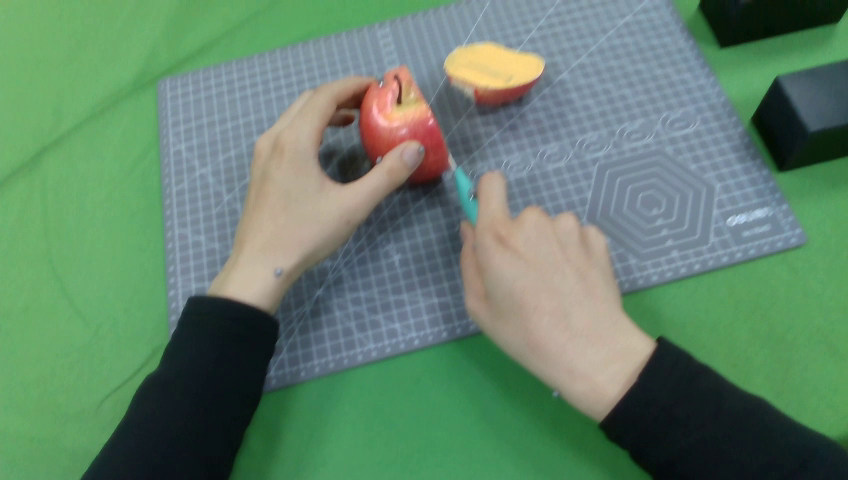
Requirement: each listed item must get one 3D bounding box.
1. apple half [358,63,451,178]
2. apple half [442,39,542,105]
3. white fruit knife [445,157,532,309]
[{"bbox_3d":[-0.020,-0.080,0.445,0.053,0.075,0.080,-27,68,-2],"label":"apple half"},{"bbox_3d":[0.051,-0.126,0.479,0.081,0.033,0.080,-1,44,1],"label":"apple half"},{"bbox_3d":[0.026,-0.042,0.438,0.016,0.027,0.205,-21,60,-10],"label":"white fruit knife"}]
